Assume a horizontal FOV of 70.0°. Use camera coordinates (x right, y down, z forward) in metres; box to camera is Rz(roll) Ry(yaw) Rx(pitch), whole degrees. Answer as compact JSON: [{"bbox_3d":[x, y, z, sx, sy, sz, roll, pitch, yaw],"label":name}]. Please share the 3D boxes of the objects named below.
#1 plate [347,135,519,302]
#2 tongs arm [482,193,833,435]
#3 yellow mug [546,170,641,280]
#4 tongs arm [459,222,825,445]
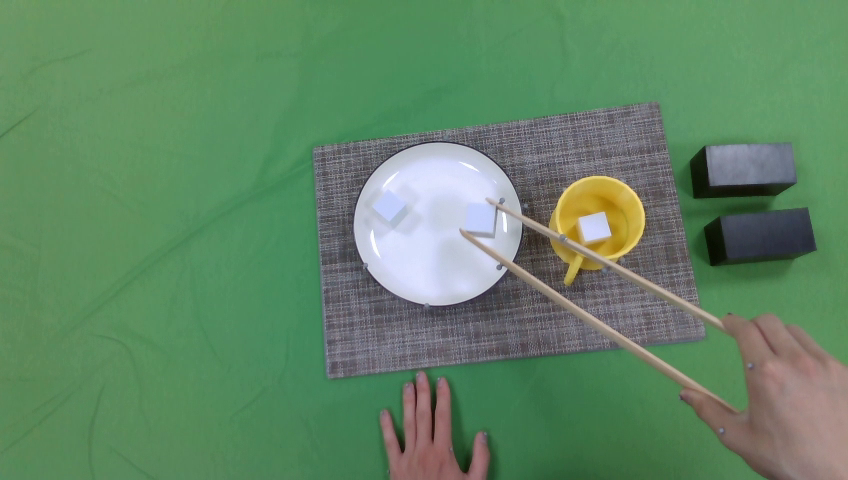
[{"bbox_3d":[0.012,-0.025,0.744,0.207,0.039,0.206,-1,78,4],"label":"plate"},{"bbox_3d":[0.180,0.044,0.561,0.381,0.027,0.050,32,82,42],"label":"tongs arm"},{"bbox_3d":[0.191,-0.012,0.713,0.099,0.064,0.130,24,81,8],"label":"yellow mug"},{"bbox_3d":[0.161,0.066,0.559,0.028,0.028,0.383,-48,48,-7],"label":"tongs arm"}]
